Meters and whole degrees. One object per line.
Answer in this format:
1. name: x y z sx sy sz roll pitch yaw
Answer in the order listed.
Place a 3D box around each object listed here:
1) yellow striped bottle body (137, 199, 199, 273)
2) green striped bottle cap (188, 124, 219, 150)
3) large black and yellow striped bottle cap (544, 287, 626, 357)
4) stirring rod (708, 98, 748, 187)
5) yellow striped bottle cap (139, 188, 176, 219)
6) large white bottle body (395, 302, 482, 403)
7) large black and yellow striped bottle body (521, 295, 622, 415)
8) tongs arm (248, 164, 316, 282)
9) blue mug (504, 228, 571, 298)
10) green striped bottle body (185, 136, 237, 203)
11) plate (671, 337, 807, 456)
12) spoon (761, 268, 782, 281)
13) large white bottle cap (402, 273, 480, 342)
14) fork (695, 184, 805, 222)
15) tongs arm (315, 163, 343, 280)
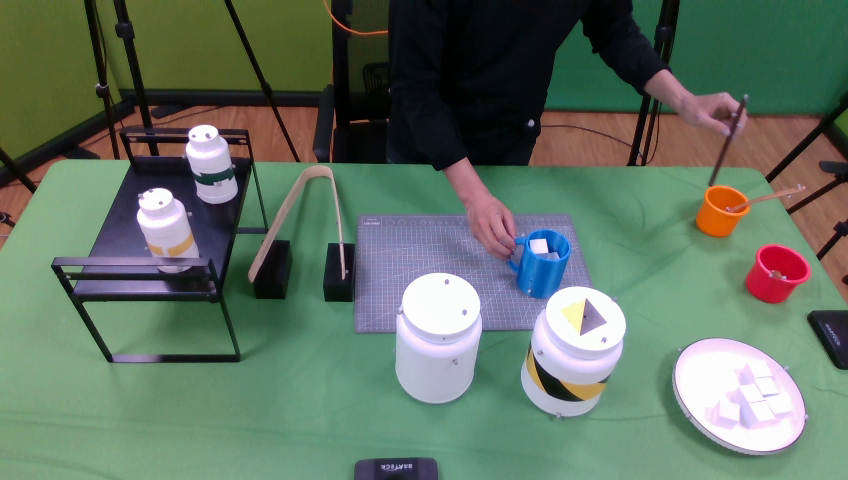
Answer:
1. yellow striped bottle body: -0.366 -0.014 0.863 0.063 0.121 0.062 2 46 -2
2. green striped bottle cap: -0.339 -0.158 0.931 0.044 0.020 0.044 3 47 -3
3. large black and yellow striped bottle cap: 0.232 0.116 0.876 0.115 0.019 0.114 2 46 -1
4. stirring rod: 0.561 -0.178 1.120 0.006 0.177 0.014 4 34 -5
5. yellow striped bottle cap: -0.363 -0.050 0.826 0.044 0.019 0.044 0 47 0
6. large white bottle body: 0.020 0.153 0.940 0.131 0.185 0.130 2 46 -2
7. large black and yellow striped bottle body: 0.228 0.173 0.938 0.131 0.185 0.130 2 47 -2
8. tongs arm: -0.269 -0.048 1.165 0.028 0.028 0.385 0 34 7
9. blue mug: 0.203 0.037 1.116 0.116 0.106 0.082 20 49 15
10. green striped bottle body: -0.341 -0.121 0.969 0.063 0.120 0.063 2 46 -2
11. plate: 0.503 0.254 0.984 0.208 0.039 0.206 2 46 -2
12. spoon: 0.638 0.060 1.105 0.041 0.021 0.194 37 11 25
13. large white bottle cap: 0.024 0.095 0.878 0.115 0.018 0.114 2 47 -2
14. fork: 0.657 -0.075 1.230 0.207 0.019 0.028 -23 32 37
15. tongs arm: -0.187 -0.049 1.170 0.051 0.026 0.382 -5 35 -6
